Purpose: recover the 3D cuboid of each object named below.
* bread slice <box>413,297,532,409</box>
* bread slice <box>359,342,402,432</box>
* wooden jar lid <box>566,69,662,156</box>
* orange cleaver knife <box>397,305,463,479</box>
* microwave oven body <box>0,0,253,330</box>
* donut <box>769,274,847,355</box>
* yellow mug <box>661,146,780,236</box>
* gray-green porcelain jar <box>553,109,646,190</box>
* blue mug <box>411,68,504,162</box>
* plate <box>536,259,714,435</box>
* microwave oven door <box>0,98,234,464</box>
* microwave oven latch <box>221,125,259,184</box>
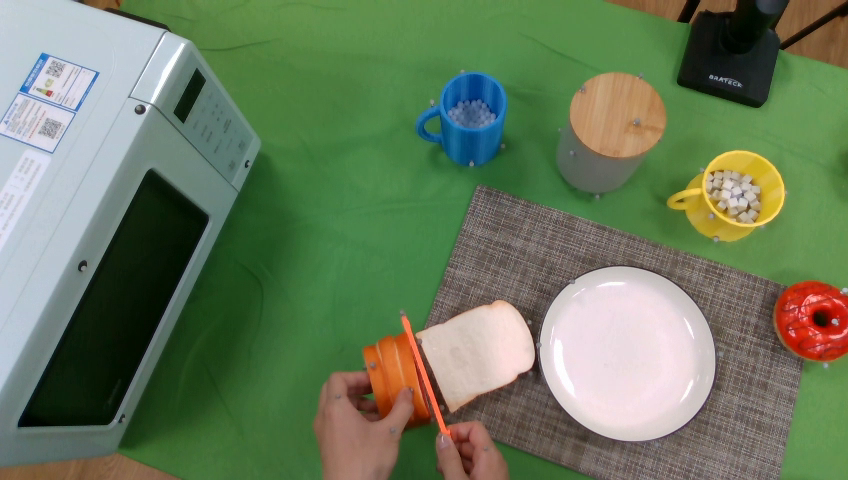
[{"bbox_3d":[0.065,0.132,0.741,0.131,0.019,0.104,-24,74,-1],"label":"bread slice"},{"bbox_3d":[-0.049,0.163,0.689,0.018,0.135,0.106,-18,72,-5],"label":"bread slice"},{"bbox_3d":[0.217,-0.145,0.699,0.108,0.021,0.107,0,73,2],"label":"wooden jar lid"},{"bbox_3d":[0.007,0.170,0.649,0.012,0.077,0.210,-19,84,-3],"label":"orange cleaver knife"},{"bbox_3d":[-0.451,-0.029,0.682,0.325,0.261,0.440,19,77,7],"label":"microwave oven body"},{"bbox_3d":[0.468,0.090,0.731,0.099,0.048,0.098,-1,76,2],"label":"donut"},{"bbox_3d":[0.369,-0.059,0.767,0.131,0.064,0.099,-4,75,2],"label":"yellow mug"},{"bbox_3d":[0.220,-0.128,0.759,0.106,0.127,0.105,0,75,2],"label":"gray-green porcelain jar"},{"bbox_3d":[0.042,-0.157,0.783,0.116,0.106,0.082,-6,74,1],"label":"blue mug"},{"bbox_3d":[0.238,0.127,0.732,0.207,0.039,0.206,0,75,2],"label":"plate"},{"bbox_3d":[-0.331,0.056,0.650,0.039,0.245,0.354,19,76,7],"label":"microwave oven door"},{"bbox_3d":[-0.247,-0.116,0.798,0.030,0.029,0.079,23,78,8],"label":"microwave oven latch"}]
